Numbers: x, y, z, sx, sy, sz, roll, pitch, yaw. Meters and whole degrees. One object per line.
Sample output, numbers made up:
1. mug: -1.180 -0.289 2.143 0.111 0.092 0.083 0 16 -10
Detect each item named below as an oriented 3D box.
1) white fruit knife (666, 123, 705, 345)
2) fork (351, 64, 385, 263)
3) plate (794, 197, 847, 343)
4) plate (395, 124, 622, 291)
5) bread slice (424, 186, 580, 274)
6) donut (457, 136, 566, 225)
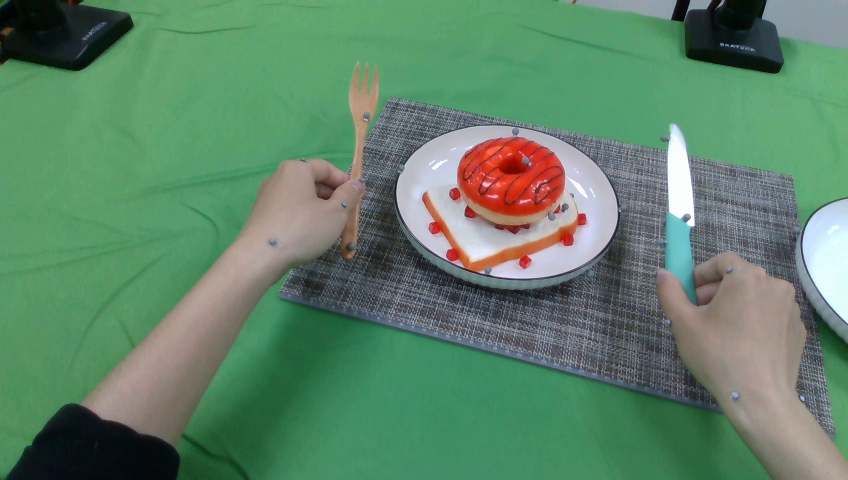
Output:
1. white fruit knife: 0.215 -0.014 0.509 0.027 0.016 0.206 9 64 -2
2. fork: -0.053 -0.074 0.543 0.028 0.019 0.205 -14 57 29
3. plate: 0.426 0.046 0.524 0.208 0.039 0.205 1 48 -1
4. plate: 0.076 -0.032 0.572 0.209 0.038 0.207 1 49 -1
5. bread slice: 0.078 -0.027 0.570 0.132 0.019 0.103 -19 53 -17
6. donut: 0.078 -0.055 0.545 0.099 0.048 0.098 1 48 -1
